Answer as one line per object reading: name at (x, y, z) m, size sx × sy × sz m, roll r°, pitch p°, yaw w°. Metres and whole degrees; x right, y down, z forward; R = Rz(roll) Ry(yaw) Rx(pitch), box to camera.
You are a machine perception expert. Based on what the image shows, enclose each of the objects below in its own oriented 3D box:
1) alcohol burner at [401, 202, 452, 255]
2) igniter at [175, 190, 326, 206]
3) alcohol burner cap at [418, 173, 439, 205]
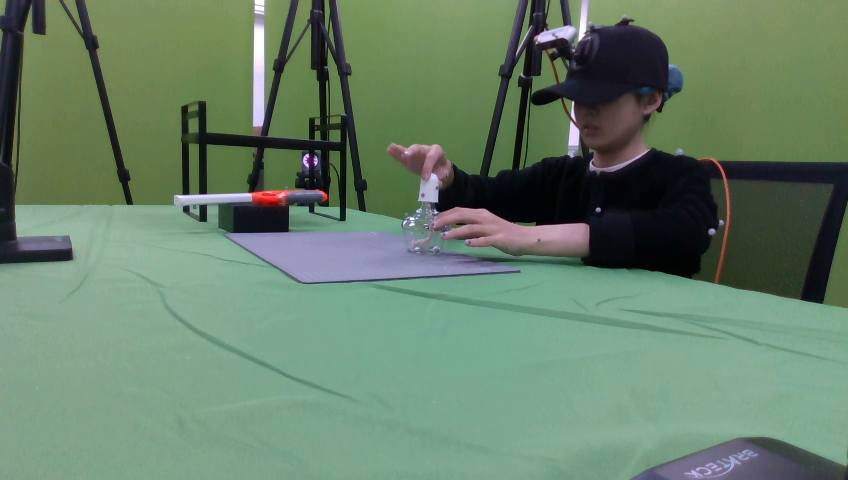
alcohol burner at (0.005, -0.036, 0.922) m, size 0.078 × 0.119 × 0.078 m, roll 5°, pitch 7°, yaw 0°
igniter at (-0.315, -0.079, 1.128) m, size 0.278 × 0.025 × 0.057 m, roll -5°, pitch 13°, yaw -34°
alcohol burner cap at (0.008, -0.078, 0.916) m, size 0.034 × 0.048 × 0.034 m, roll 3°, pitch 3°, yaw 0°
